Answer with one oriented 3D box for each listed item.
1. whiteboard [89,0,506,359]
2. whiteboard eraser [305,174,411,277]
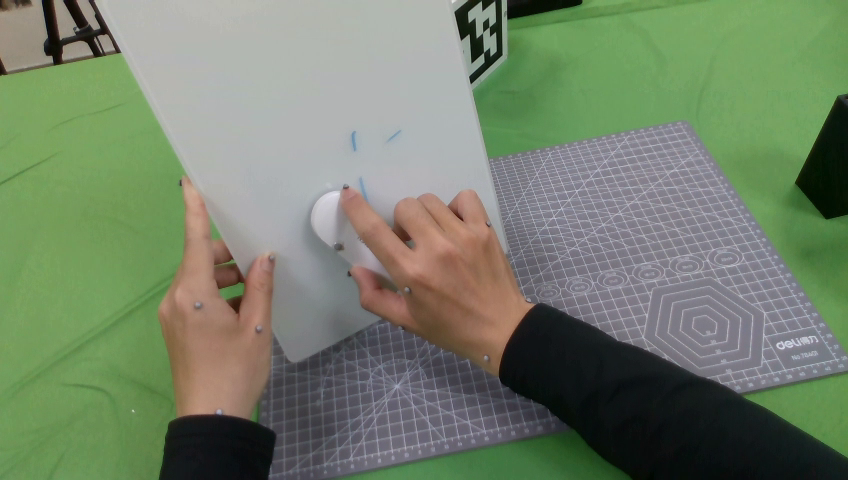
[{"bbox_3d":[-0.086,-0.099,0.498,0.217,0.308,0.142,-27,34,-12],"label":"whiteboard"},{"bbox_3d":[-0.049,-0.010,0.465,0.041,0.102,0.018,-47,31,-4],"label":"whiteboard eraser"}]
